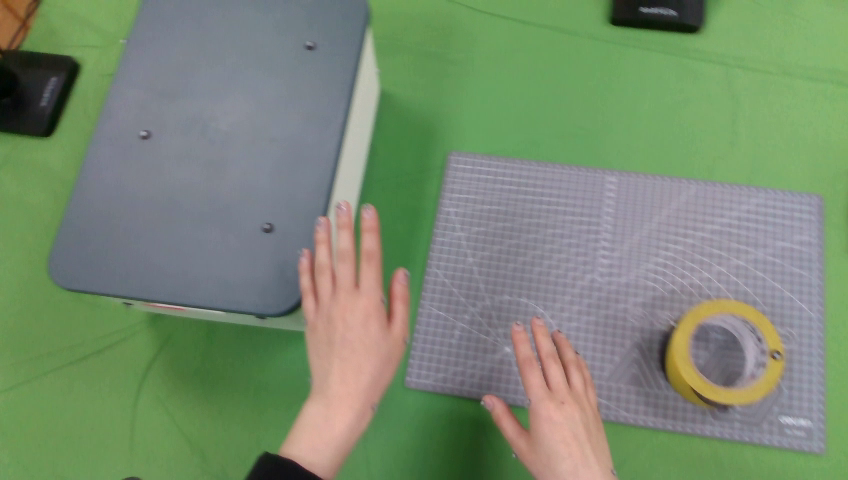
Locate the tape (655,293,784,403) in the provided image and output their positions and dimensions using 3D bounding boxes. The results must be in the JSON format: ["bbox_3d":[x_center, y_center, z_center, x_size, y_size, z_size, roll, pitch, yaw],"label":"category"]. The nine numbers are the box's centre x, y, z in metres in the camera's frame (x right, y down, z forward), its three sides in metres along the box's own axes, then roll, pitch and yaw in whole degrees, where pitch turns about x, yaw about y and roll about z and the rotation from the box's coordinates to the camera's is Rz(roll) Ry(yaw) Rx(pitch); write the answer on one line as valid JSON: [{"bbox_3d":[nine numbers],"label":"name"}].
[{"bbox_3d":[0.312,0.116,0.644,0.117,0.053,0.116,-1,72,5],"label":"tape"}]

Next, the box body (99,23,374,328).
[{"bbox_3d":[-0.209,-0.093,0.691,0.254,0.161,0.362,6,73,6],"label":"box body"}]

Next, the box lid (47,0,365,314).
[{"bbox_3d":[-0.214,-0.119,0.621,0.263,0.015,0.369,6,74,6],"label":"box lid"}]
